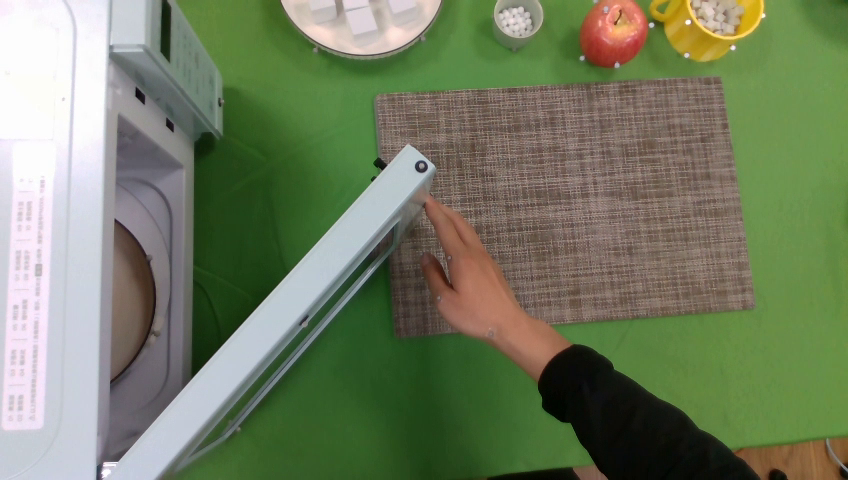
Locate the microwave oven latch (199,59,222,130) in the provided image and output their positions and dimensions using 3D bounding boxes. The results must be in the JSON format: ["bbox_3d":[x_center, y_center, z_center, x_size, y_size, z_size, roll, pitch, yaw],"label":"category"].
[{"bbox_3d":[-0.251,-0.169,0.702,0.030,0.029,0.079,1,84,-5],"label":"microwave oven latch"}]

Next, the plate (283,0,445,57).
[{"bbox_3d":[-0.075,-0.323,0.754,0.208,0.039,0.207,1,83,-4],"label":"plate"}]

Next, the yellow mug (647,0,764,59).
[{"bbox_3d":[0.349,-0.293,0.768,0.131,0.064,0.099,6,82,-3],"label":"yellow mug"}]

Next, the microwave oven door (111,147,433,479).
[{"bbox_3d":[-0.124,0.077,0.580,0.039,0.244,0.355,40,82,3],"label":"microwave oven door"}]

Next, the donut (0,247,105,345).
[{"bbox_3d":[-0.373,0.056,0.608,0.099,0.048,0.099,0,85,-5],"label":"donut"}]

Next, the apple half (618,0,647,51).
[{"bbox_3d":[0.253,-0.272,0.754,0.033,0.081,0.081,-31,85,-3],"label":"apple half"}]

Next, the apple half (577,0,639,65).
[{"bbox_3d":[0.219,-0.252,0.750,0.053,0.074,0.081,-31,89,-3],"label":"apple half"}]

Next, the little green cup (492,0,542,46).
[{"bbox_3d":[0.114,-0.277,0.762,0.061,0.038,0.061,1,83,-4],"label":"little green cup"}]

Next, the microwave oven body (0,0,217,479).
[{"bbox_3d":[-0.386,-0.004,0.574,0.326,0.260,0.440,-1,84,-5],"label":"microwave oven body"}]
